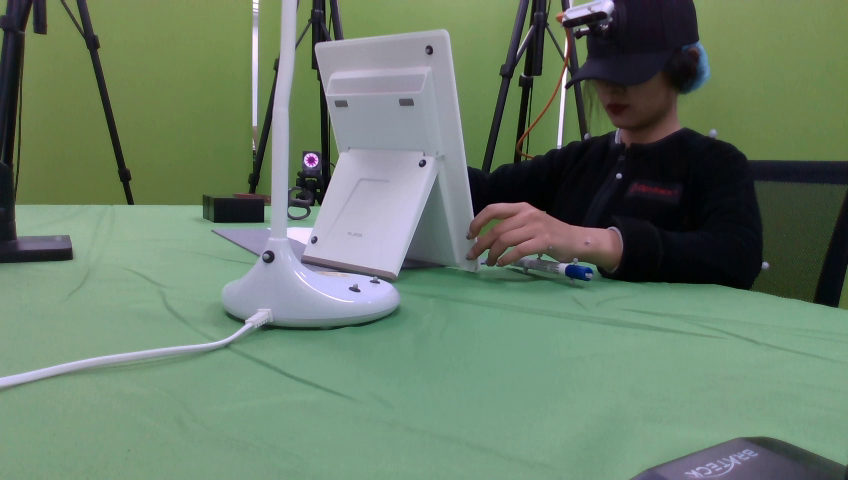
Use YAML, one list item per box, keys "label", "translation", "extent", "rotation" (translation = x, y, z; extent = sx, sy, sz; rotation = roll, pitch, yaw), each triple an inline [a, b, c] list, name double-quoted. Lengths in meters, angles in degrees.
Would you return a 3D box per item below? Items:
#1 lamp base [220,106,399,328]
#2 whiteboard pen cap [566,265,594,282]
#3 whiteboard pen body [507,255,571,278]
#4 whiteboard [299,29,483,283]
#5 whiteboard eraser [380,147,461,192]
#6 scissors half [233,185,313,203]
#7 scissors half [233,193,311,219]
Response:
- label: "lamp base"
  translation: [-0.101, -0.023, 0.531]
  extent: [0.160, 0.180, 0.179]
  rotation: [4, 10, 10]
- label: "whiteboard pen cap"
  translation: [0.185, 0.040, 0.722]
  extent: [0.018, 0.018, 0.033]
  rotation: [-3, 6, -33]
- label: "whiteboard pen body"
  translation: [0.155, 0.034, 0.773]
  extent: [0.017, 0.017, 0.140]
  rotation: [-2, 7, -32]
- label: "whiteboard"
  translation: [-0.074, -0.082, 0.742]
  extent: [0.216, 0.305, 0.144]
  rotation: [9, 29, 38]
- label: "whiteboard eraser"
  translation: [-0.008, -0.093, 0.804]
  extent: [0.112, 0.055, 0.042]
  rotation: [6, 34, 39]
- label: "scissors half"
  translation: [-0.326, -0.098, 1.315]
  extent: [0.176, 0.040, 0.012]
  rotation: [-5, 19, -29]
- label: "scissors half"
  translation: [-0.330, -0.078, 1.319]
  extent: [0.176, 0.040, 0.013]
  rotation: [16, 3, -32]
